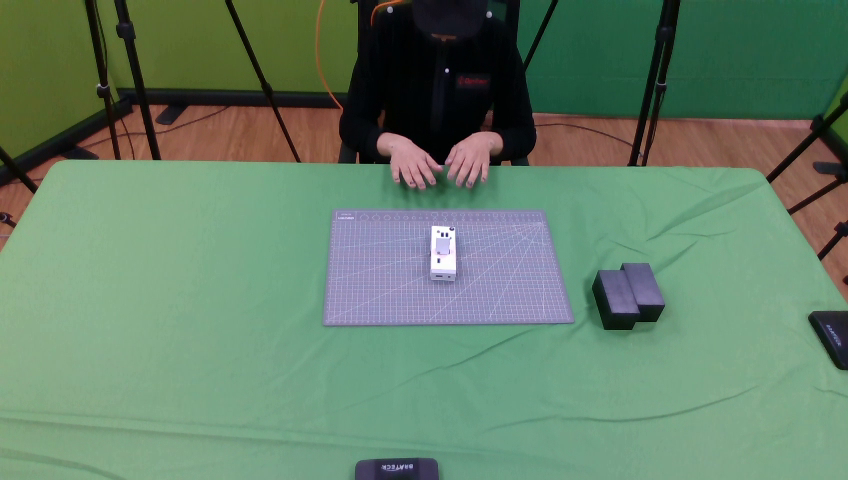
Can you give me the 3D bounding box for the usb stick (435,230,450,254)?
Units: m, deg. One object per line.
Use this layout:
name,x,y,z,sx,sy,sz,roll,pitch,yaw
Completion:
usb stick,0.034,0.009,1.146,0.027,0.059,0.021,3,46,-4

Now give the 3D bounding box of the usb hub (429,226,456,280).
usb hub,0.037,0.024,1.173,0.049,0.025,0.124,3,46,-2
